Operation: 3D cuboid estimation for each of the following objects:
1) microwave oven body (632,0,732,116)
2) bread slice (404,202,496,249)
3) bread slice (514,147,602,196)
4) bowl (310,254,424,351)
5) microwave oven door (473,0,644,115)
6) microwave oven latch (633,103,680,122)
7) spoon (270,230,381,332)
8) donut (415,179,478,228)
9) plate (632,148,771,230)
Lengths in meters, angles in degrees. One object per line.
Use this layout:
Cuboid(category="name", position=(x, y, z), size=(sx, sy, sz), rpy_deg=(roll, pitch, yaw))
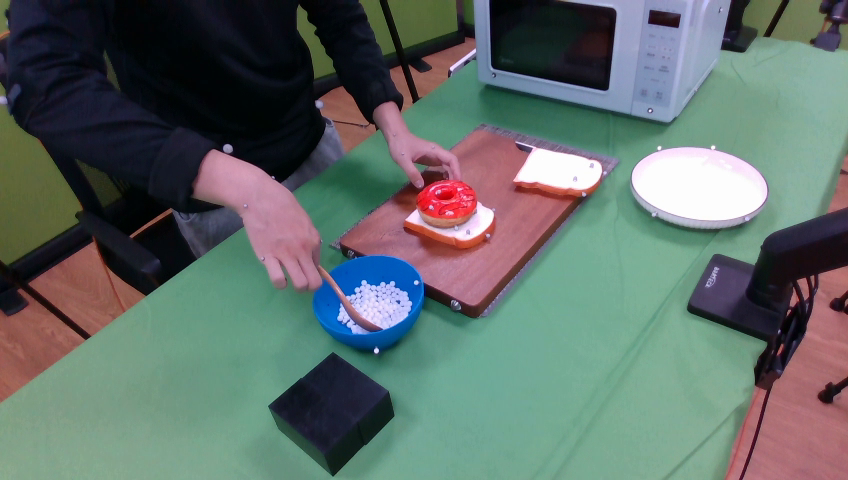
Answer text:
Cuboid(category="microwave oven body", position=(0.377, -0.462, 1.267), size=(0.438, 0.261, 0.327), rpy_deg=(21, 48, 30))
Cuboid(category="bread slice", position=(0.048, -0.034, 0.961), size=(0.130, 0.019, 0.105), rpy_deg=(22, 49, 32))
Cuboid(category="bread slice", position=(0.233, -0.115, 1.027), size=(0.133, 0.018, 0.107), rpy_deg=(13, 45, 20))
Cuboid(category="bowl", position=(-0.071, 0.097, 0.821), size=(0.151, 0.077, 0.150), rpy_deg=(-4, 40, 4))
Cuboid(category="microwave oven door", position=(0.257, -0.396, 1.199), size=(0.353, 0.245, 0.039), rpy_deg=(21, 48, 29))
Cuboid(category="microwave oven latch", position=(0.444, -0.249, 1.157), size=(0.078, 0.029, 0.030), rpy_deg=(21, 49, 30))
Cuboid(category="spoon", position=(-0.127, 0.054, 0.787), size=(0.021, 0.041, 0.194), rpy_deg=(-43, 92, -13))
Cuboid(category="donut", position=(0.036, -0.058, 0.944), size=(0.099, 0.048, 0.098), rpy_deg=(-5, 40, 5))
Cuboid(category="plate", position=(0.447, -0.081, 0.988), size=(0.207, 0.039, 0.206), rpy_deg=(-4, 40, 4))
